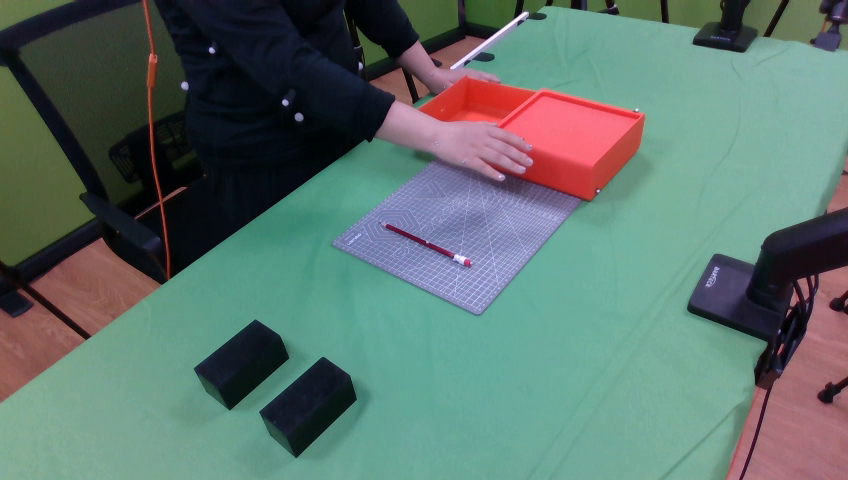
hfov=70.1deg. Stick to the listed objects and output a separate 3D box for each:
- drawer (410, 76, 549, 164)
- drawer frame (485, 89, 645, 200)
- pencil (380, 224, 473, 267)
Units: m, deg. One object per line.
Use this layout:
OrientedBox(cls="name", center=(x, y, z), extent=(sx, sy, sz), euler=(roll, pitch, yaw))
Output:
OrientedBox(cls="drawer", center=(0.113, -0.238, 1.190), extent=(0.210, 0.073, 0.195), euler=(22, 47, 34))
OrientedBox(cls="drawer frame", center=(0.253, -0.180, 1.094), extent=(0.212, 0.083, 0.202), euler=(24, 48, 31))
OrientedBox(cls="pencil", center=(-0.002, 0.005, 0.970), extent=(0.192, 0.012, 0.012), euler=(24, 49, 33))
